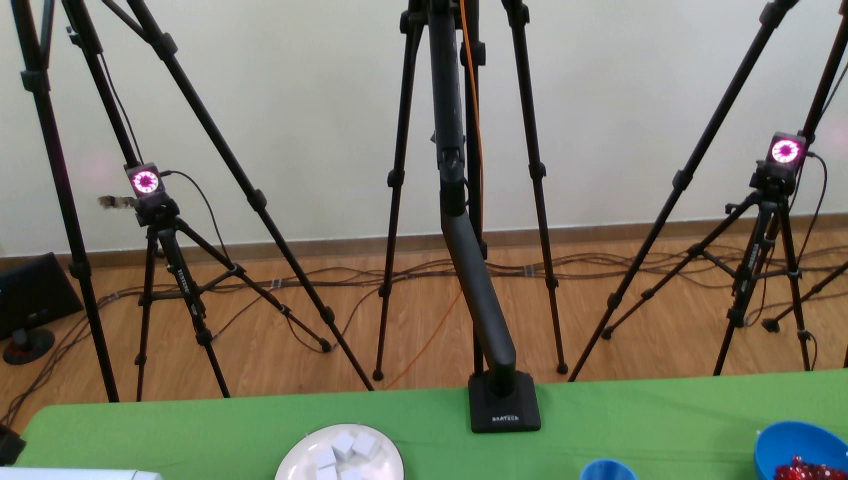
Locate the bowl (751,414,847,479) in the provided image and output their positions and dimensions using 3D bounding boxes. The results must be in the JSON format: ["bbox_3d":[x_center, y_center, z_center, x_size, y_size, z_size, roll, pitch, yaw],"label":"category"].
[{"bbox_3d":[0.565,0.348,0.910,0.151,0.077,0.150,-3,40,3],"label":"bowl"}]

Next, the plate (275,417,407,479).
[{"bbox_3d":[-0.130,0.380,0.965,0.207,0.039,0.205,-2,39,2],"label":"plate"}]

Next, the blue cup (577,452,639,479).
[{"bbox_3d":[0.262,0.375,0.886,0.092,0.101,0.091,-2,41,2],"label":"blue cup"}]

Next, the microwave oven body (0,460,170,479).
[{"bbox_3d":[-0.486,0.502,0.662,0.326,0.262,0.437,0,40,4],"label":"microwave oven body"}]
